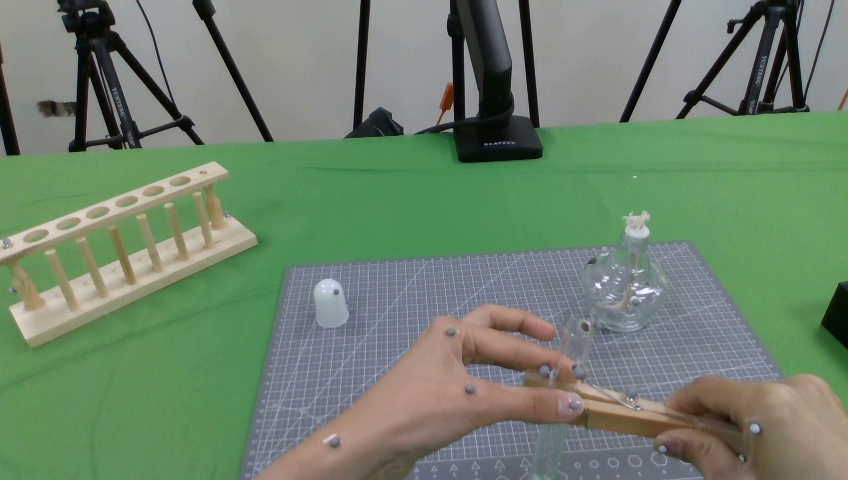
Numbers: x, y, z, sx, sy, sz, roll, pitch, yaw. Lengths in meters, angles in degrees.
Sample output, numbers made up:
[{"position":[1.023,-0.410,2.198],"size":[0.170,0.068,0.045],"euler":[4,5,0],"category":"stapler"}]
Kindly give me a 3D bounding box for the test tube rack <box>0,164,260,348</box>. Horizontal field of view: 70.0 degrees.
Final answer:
[{"position":[-0.304,0.008,0.637],"size":[0.242,0.086,0.066],"euler":[-28,43,-32],"category":"test tube rack"}]

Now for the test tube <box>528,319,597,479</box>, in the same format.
[{"position":[0.074,0.106,0.340],"size":[0.017,0.151,0.017],"euler":[3,33,-2],"category":"test tube"}]

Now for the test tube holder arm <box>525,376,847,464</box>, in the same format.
[{"position":[0.142,0.095,0.316],"size":[0.178,0.015,0.013],"euler":[7,48,13],"category":"test tube holder arm"}]

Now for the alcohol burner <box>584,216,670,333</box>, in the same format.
[{"position":[0.187,0.027,0.552],"size":[0.078,0.120,0.077],"euler":[-1,38,1],"category":"alcohol burner"}]

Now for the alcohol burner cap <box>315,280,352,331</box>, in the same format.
[{"position":[-0.089,0.060,0.584],"size":[0.034,0.048,0.033],"euler":[-2,36,1],"category":"alcohol burner cap"}]

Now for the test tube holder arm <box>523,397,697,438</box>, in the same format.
[{"position":[0.097,0.094,0.321],"size":[0.087,0.015,0.010],"euler":[3,47,9],"category":"test tube holder arm"}]
